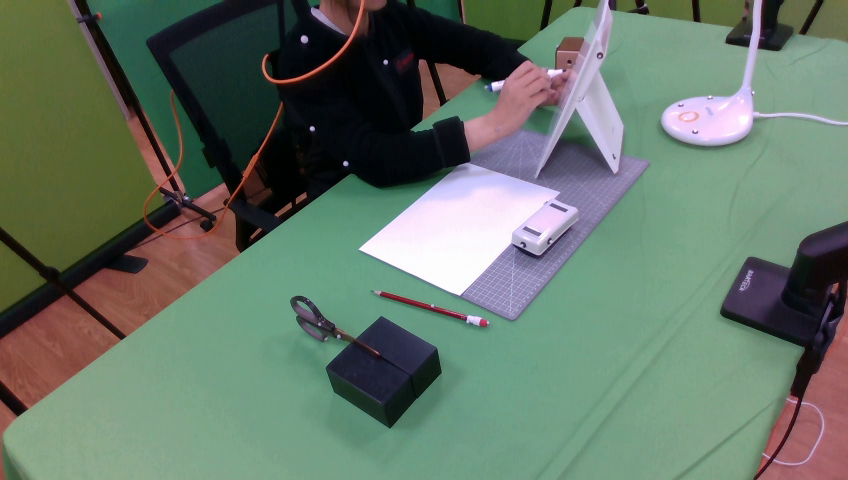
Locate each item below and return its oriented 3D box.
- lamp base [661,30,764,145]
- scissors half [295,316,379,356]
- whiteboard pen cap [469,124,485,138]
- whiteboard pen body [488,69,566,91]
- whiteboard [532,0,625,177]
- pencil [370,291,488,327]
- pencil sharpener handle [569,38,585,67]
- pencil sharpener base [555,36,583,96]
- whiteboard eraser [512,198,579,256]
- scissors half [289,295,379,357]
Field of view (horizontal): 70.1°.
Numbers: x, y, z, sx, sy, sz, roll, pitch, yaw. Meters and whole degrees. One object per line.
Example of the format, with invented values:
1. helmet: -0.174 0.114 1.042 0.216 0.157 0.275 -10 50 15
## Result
1. lamp base: 0.535 -0.287 1.096 0.179 0.181 0.159 -10 40 -4
2. scissors half: -0.119 0.131 0.813 0.174 0.040 0.013 9 34 45
3. whiteboard pen cap: 0.107 -0.220 1.224 0.033 0.018 0.018 -38 48 -23
4. whiteboard pen body: 0.185 -0.290 1.087 0.140 0.017 0.017 -10 40 10
5. whiteboard: 0.320 -0.258 1.050 0.144 0.306 0.217 21 45 5
6. pencil: 0.003 0.097 0.877 0.193 0.012 0.012 13 45 26
7. pencil sharpener handle: 0.332 -0.413 1.318 0.036 0.068 0.030 19 46 13
8. pencil sharpener base: 0.317 -0.371 1.290 0.061 0.107 0.076 10 44 22
9. whiteboard eraser: 0.191 -0.019 0.949 0.055 0.042 0.113 26 51 36
10. scissors half: -0.122 0.114 0.803 0.174 0.040 0.013 26 50 32
